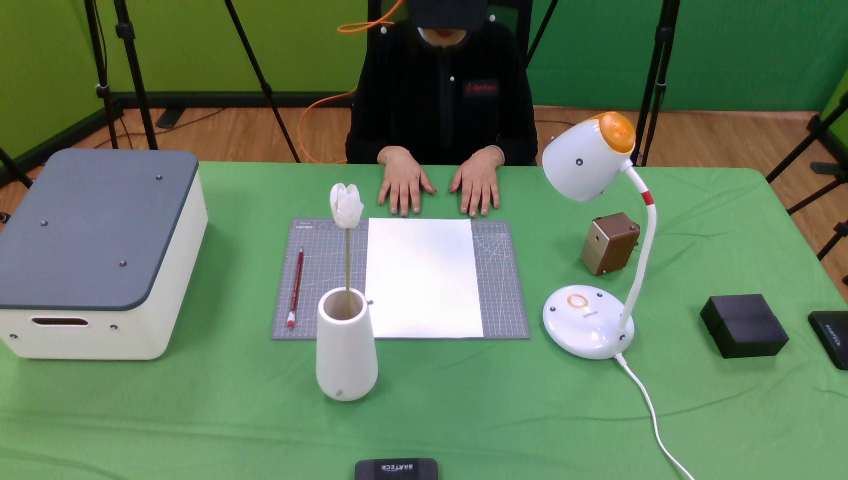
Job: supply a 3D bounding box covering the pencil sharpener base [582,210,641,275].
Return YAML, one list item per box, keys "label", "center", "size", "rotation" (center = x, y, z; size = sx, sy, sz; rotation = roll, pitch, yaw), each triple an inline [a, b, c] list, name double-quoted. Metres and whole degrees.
- label: "pencil sharpener base"
  center: [0.357, 0.005, 1.156]
  size: [0.077, 0.107, 0.061]
  rotation: [-15, 48, -18]

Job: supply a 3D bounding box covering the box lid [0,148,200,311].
- label: "box lid"
  center: [-0.536, -0.034, 0.990]
  size: [0.263, 0.015, 0.369]
  rotation: [1, 45, -3]

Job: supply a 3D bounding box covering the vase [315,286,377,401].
- label: "vase"
  center: [-0.119, 0.159, 0.911]
  size: [0.098, 0.201, 0.097]
  rotation: [2, 47, -2]

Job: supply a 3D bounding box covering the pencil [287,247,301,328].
- label: "pencil"
  center: [-0.236, 0.081, 1.107]
  size: [0.012, 0.012, 0.193]
  rotation: [0, 45, -4]

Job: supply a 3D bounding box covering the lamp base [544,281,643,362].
- label: "lamp base"
  center: [0.303, 0.095, 1.014]
  size: [0.161, 0.181, 0.178]
  rotation: [-24, 54, -24]

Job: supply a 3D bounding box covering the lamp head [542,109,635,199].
- label: "lamp head"
  center: [0.253, -0.131, 0.893]
  size: [0.113, 0.123, 0.112]
  rotation: [10, 66, -24]

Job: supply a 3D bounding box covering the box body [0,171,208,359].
- label: "box body"
  center: [-0.541, 0.021, 1.042]
  size: [0.254, 0.161, 0.361]
  rotation: [1, 46, -3]

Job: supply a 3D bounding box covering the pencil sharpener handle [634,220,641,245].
- label: "pencil sharpener handle"
  center: [0.405, -0.015, 1.161]
  size: [0.031, 0.068, 0.035]
  rotation: [-15, 44, -17]

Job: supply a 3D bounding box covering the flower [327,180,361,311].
- label: "flower"
  center: [-0.110, 0.087, 0.867]
  size: [0.044, 0.363, 0.038]
  rotation: [22, 33, 36]
